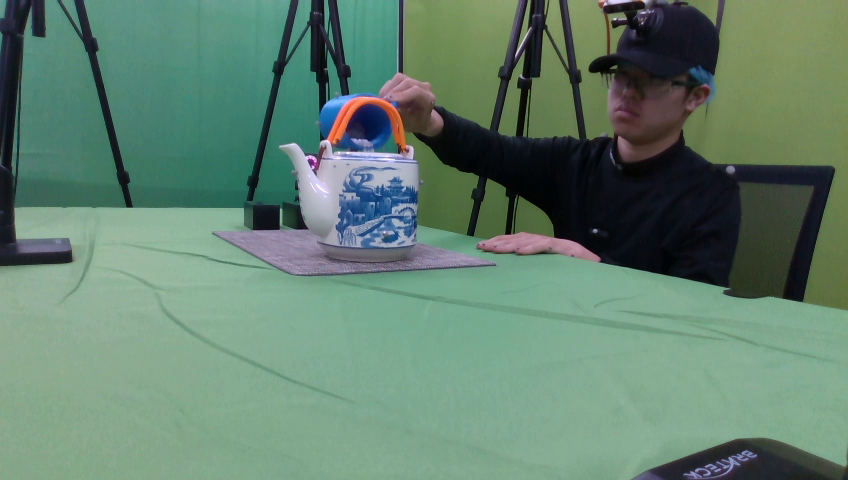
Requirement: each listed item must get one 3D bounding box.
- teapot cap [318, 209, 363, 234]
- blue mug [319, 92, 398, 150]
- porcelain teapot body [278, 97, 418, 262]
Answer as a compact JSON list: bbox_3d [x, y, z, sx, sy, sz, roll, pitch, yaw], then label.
[{"bbox_3d":[-0.158,-0.036,1.144,0.085,0.044,0.085,0,6,0],"label":"teapot cap"},{"bbox_3d":[-0.093,-0.189,0.926,0.117,0.082,0.105,-34,22,-18],"label":"blue mug"},{"bbox_3d":[-0.104,-0.086,0.842,0.206,0.225,0.144,-4,9,-38],"label":"porcelain teapot body"}]
